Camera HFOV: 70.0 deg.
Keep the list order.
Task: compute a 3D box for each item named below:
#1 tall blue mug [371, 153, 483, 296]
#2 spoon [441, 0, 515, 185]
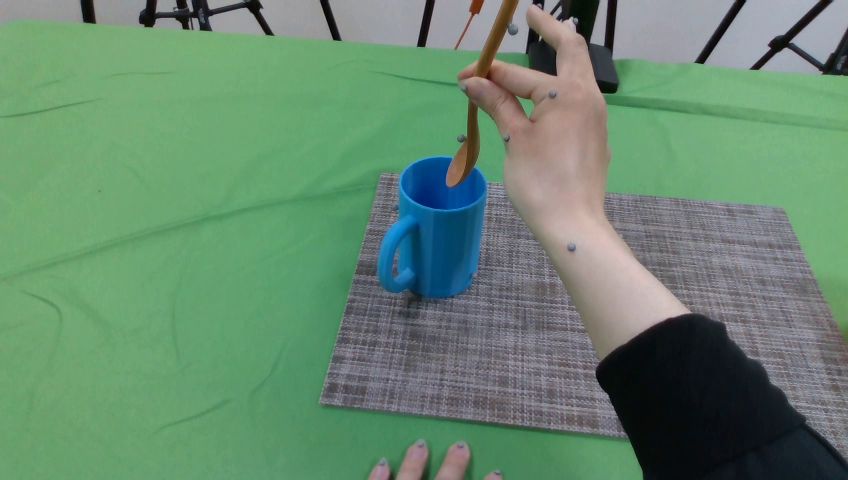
[{"bbox_3d":[0.005,-0.002,0.538,0.077,0.109,0.106,12,45,8],"label":"tall blue mug"},{"bbox_3d":[0.035,-0.101,0.425,0.021,0.195,0.041,10,60,-1],"label":"spoon"}]
